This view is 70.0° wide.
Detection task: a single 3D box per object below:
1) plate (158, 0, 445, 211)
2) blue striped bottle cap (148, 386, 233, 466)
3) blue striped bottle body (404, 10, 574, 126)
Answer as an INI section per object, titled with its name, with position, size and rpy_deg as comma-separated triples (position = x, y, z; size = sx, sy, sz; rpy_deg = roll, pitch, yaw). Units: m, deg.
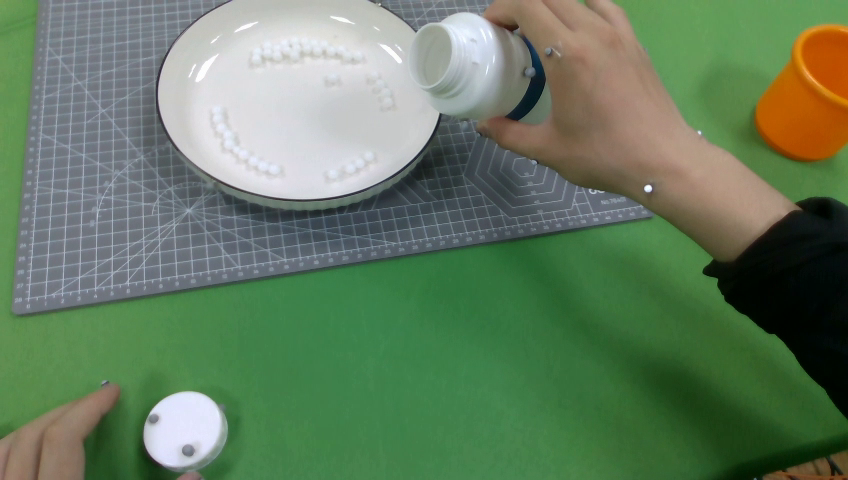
[plate]
position = -0.087, -0.107, 0.459
size = 0.208, 0.039, 0.206
rpy_deg = 3, 62, -5
[blue striped bottle cap]
position = -0.137, 0.108, 0.355
size = 0.044, 0.021, 0.044
rpy_deg = 2, 65, -3
[blue striped bottle body]
position = 0.042, -0.112, 0.402
size = 0.121, 0.063, 0.062
rpy_deg = -4, 57, -46
